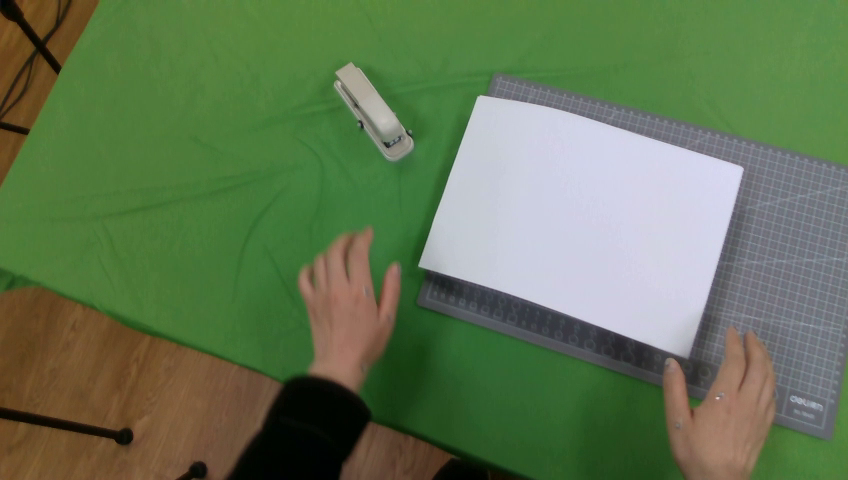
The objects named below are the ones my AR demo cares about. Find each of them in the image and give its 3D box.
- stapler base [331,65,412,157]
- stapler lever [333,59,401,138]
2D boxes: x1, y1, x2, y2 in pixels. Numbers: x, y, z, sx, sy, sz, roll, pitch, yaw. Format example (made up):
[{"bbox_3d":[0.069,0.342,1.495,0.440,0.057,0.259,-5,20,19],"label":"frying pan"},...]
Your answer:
[{"bbox_3d":[-0.064,-0.159,0.728,0.041,0.024,0.130,-35,76,-6],"label":"stapler base"},{"bbox_3d":[-0.068,-0.167,0.704,0.027,0.040,0.117,-35,75,-6],"label":"stapler lever"}]
